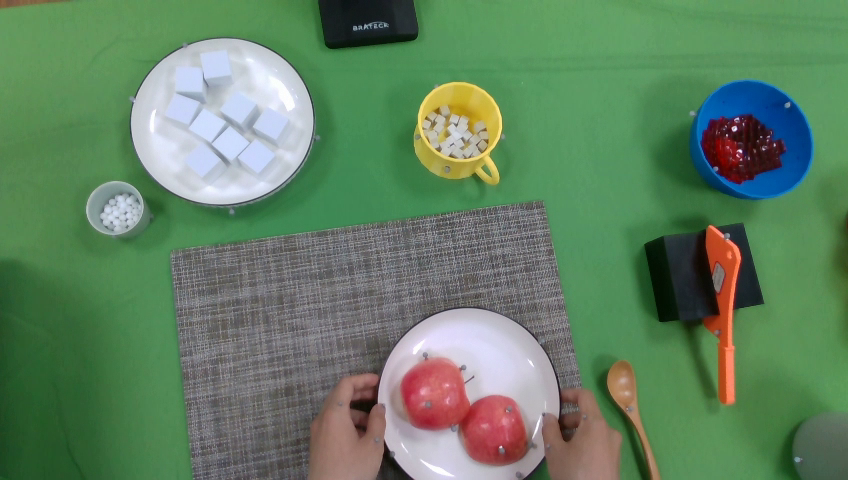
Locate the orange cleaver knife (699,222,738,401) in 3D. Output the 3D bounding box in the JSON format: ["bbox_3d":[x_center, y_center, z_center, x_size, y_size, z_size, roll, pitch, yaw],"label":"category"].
[{"bbox_3d":[0.345,0.085,0.716,0.012,0.077,0.212,-7,104,-3],"label":"orange cleaver knife"}]

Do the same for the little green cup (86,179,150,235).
[{"bbox_3d":[-0.342,-0.034,0.684,0.062,0.038,0.061,1,80,-7],"label":"little green cup"}]

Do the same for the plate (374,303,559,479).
[{"bbox_3d":[0.047,0.176,0.687,0.209,0.038,0.208,1,80,-6],"label":"plate"}]

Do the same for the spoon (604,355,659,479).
[{"bbox_3d":[0.252,0.230,0.711,0.042,0.021,0.193,-13,81,-29],"label":"spoon"}]

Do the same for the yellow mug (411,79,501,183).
[{"bbox_3d":[0.046,-0.123,0.730,0.100,0.064,0.130,-37,86,-11],"label":"yellow mug"}]

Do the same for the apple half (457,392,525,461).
[{"bbox_3d":[0.077,0.211,0.677,0.081,0.033,0.081,1,76,-4],"label":"apple half"}]

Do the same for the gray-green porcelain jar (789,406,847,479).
[{"bbox_3d":[0.492,0.243,0.682,0.106,0.127,0.105,1,79,-5],"label":"gray-green porcelain jar"}]

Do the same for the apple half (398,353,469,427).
[{"bbox_3d":[0.010,0.167,0.669,0.075,0.053,0.080,-12,81,-5],"label":"apple half"}]

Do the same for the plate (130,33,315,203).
[{"bbox_3d":[-0.233,-0.142,0.718,0.208,0.039,0.207,1,80,-6],"label":"plate"}]

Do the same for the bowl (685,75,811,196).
[{"bbox_3d":[0.389,-0.120,0.760,0.151,0.077,0.151,1,80,-6],"label":"bowl"}]
